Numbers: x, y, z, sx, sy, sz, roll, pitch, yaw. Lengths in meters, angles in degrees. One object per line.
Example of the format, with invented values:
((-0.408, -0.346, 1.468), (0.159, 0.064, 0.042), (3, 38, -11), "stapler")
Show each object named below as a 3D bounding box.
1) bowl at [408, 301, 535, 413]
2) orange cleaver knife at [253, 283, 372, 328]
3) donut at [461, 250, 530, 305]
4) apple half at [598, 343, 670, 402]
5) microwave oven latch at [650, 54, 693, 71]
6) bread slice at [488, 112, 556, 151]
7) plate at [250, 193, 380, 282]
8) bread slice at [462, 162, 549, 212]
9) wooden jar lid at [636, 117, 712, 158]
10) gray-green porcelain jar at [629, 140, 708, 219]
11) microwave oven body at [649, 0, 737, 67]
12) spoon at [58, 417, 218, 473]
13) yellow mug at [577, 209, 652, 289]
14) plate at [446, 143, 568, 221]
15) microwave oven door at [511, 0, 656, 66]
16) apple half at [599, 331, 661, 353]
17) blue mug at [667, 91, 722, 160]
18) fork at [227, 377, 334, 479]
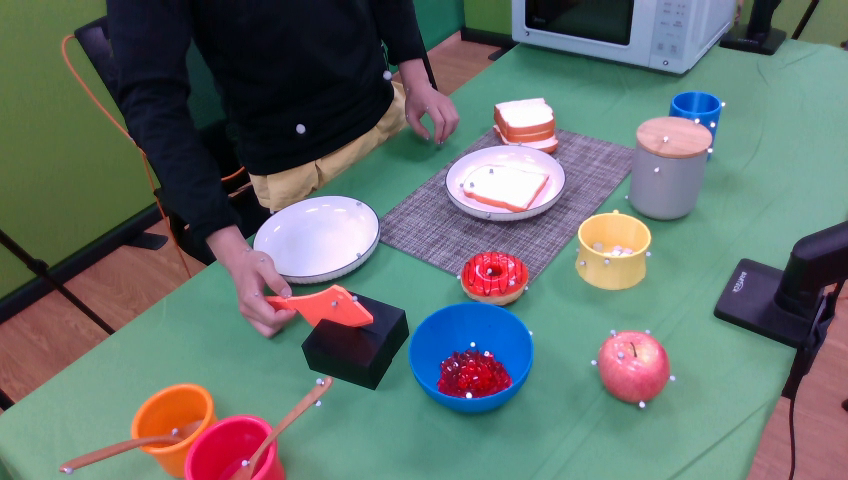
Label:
((0.060, 0.156, 0.739), (0.151, 0.077, 0.150), (-4, 40, 4), "bowl")
((-0.154, 0.093, 0.816), (0.210, 0.077, 0.012), (-9, 36, 41), "orange cleaver knife")
((0.103, 0.053, 0.872), (0.099, 0.048, 0.098), (-5, 40, 4), "donut")
((0.247, 0.161, 0.710), (0.081, 0.075, 0.053), (2, 47, 5), "apple half")
((0.531, -0.386, 1.301), (0.078, 0.029, 0.030), (26, 51, 33), "microwave oven latch")
((0.192, -0.204, 1.164), (0.105, 0.019, 0.130), (-12, 40, -7), "bread slice")
((-0.174, -0.001, 0.984), (0.209, 0.038, 0.208), (-3, 40, 3), "plate")
((0.135, -0.094, 1.045), (0.133, 0.018, 0.107), (15, 45, 23), "bread slice")
((0.377, -0.151, 0.917), (0.108, 0.021, 0.108), (-2, 41, 3), "wooden jar lid")
((0.383, -0.105, 0.958), (0.106, 0.127, 0.105), (-4, 41, 4), "gray-green porcelain jar")
((0.475, -0.602, 1.411), (0.438, 0.261, 0.327), (23, 50, 32), "microwave oven body")
((-0.304, 0.221, 0.661), (0.041, 0.195, 0.021), (19, 92, 27), "spoon")
((0.279, 0.004, 0.893), (0.099, 0.064, 0.130), (5, 42, 15), "yellow mug")
((0.142, -0.096, 1.045), (0.207, 0.039, 0.206), (-4, 40, 4), "plate")
((0.351, -0.540, 1.349), (0.353, 0.245, 0.039), (24, 50, 31), "microwave oven door")
((0.249, 0.134, 0.738), (0.081, 0.081, 0.032), (-2, 46, 7), "apple half")
((0.474, -0.207, 1.079), (0.082, 0.106, 0.116), (4, 42, 13), "blue mug")
((-0.163, 0.216, 0.647), (0.207, 0.019, 0.028), (-49, 41, 16), "fork")
